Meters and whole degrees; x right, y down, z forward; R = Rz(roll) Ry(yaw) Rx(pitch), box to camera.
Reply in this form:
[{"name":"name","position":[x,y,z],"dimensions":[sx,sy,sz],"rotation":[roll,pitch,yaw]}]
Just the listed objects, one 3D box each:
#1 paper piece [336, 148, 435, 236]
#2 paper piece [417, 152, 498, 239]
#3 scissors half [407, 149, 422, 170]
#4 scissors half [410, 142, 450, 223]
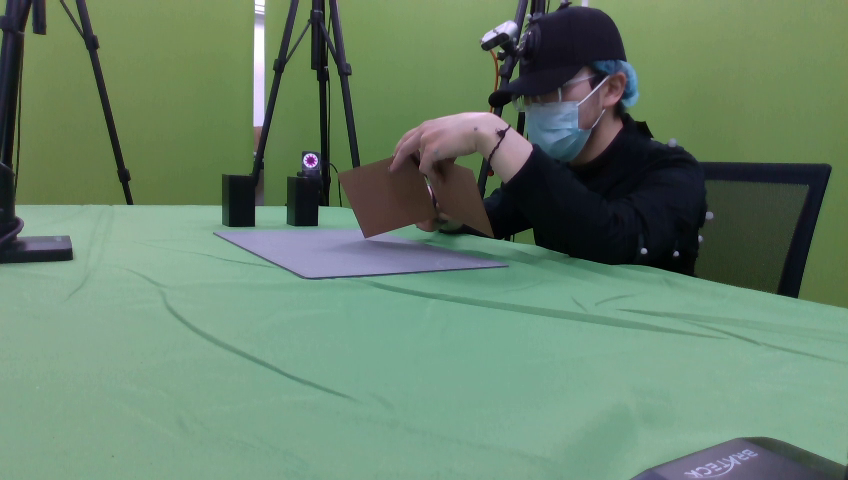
[{"name":"paper piece","position":[-0.059,-0.078,1.009],"dimensions":[0.136,0.136,0.004],"rotation":[-19,36,3]},{"name":"paper piece","position":[0.052,-0.072,0.954],"dimensions":[0.137,0.136,0.008],"rotation":[20,54,41]},{"name":"scissors half","position":[0.020,-0.113,1.023],"dimensions":[0.013,0.040,0.176],"rotation":[-2,-20,34]},{"name":"scissors half","position":[0.012,-0.094,1.013],"dimensions":[0.012,0.176,0.040],"rotation":[3,45,36]}]
